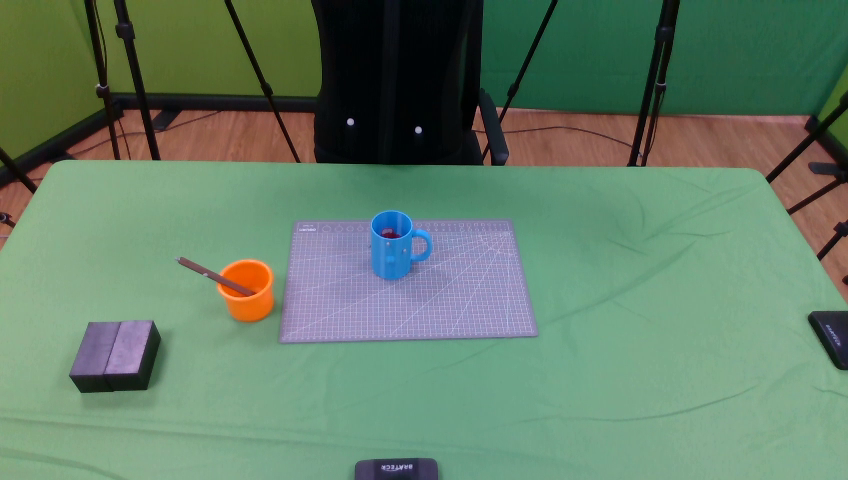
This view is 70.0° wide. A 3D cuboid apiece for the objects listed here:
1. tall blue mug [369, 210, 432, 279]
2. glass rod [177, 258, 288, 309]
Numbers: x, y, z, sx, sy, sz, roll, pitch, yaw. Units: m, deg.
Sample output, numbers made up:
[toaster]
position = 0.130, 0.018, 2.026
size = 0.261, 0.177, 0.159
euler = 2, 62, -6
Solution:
[tall blue mug]
position = -0.048, 0.005, 1.125
size = 0.107, 0.108, 0.077
euler = -19, 50, -21
[glass rod]
position = -0.318, 0.076, 1.019
size = 0.200, 0.008, 0.008
euler = 29, 41, -24
